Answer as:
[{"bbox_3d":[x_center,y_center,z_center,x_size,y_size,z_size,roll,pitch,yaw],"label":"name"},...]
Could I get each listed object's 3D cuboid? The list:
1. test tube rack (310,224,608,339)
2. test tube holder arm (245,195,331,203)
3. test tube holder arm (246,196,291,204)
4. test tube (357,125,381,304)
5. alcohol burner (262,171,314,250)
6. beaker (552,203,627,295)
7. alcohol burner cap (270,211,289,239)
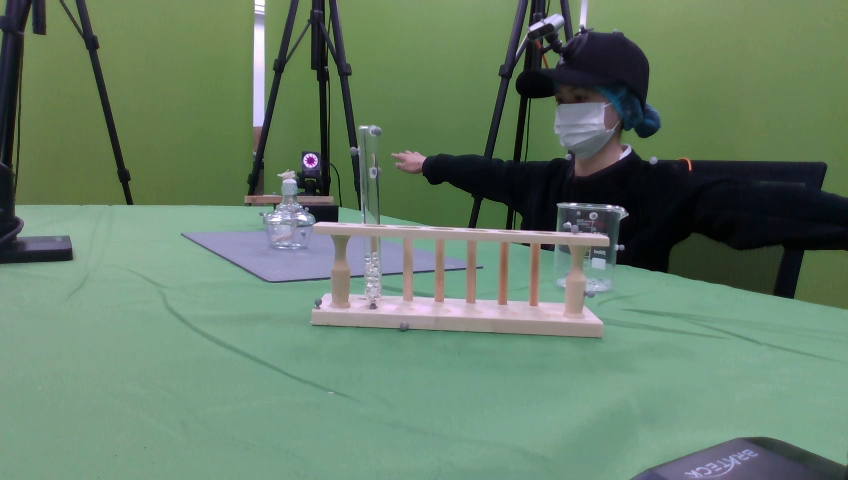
[{"bbox_3d":[0.028,0.032,0.528,0.242,0.085,0.067,3,7,0],"label":"test tube rack"},{"bbox_3d":[-0.267,-0.080,1.199,0.179,0.015,0.013,-3,20,-37],"label":"test tube holder arm"},{"bbox_3d":[-0.300,-0.077,1.168,0.088,0.015,0.010,-3,20,-36],"label":"test tube holder arm"},{"bbox_3d":[-0.045,-0.019,0.501,0.017,0.150,0.017,-1,12,0],"label":"test tube"},{"bbox_3d":[-0.205,-0.045,0.913,0.078,0.119,0.078,1,9,0],"label":"alcohol burner"},{"bbox_3d":[0.191,0.010,0.708,0.083,0.100,0.074,8,9,33],"label":"beaker"},{"bbox_3d":[-0.246,-0.026,1.035,0.034,0.048,0.034,2,8,0],"label":"alcohol burner cap"}]
